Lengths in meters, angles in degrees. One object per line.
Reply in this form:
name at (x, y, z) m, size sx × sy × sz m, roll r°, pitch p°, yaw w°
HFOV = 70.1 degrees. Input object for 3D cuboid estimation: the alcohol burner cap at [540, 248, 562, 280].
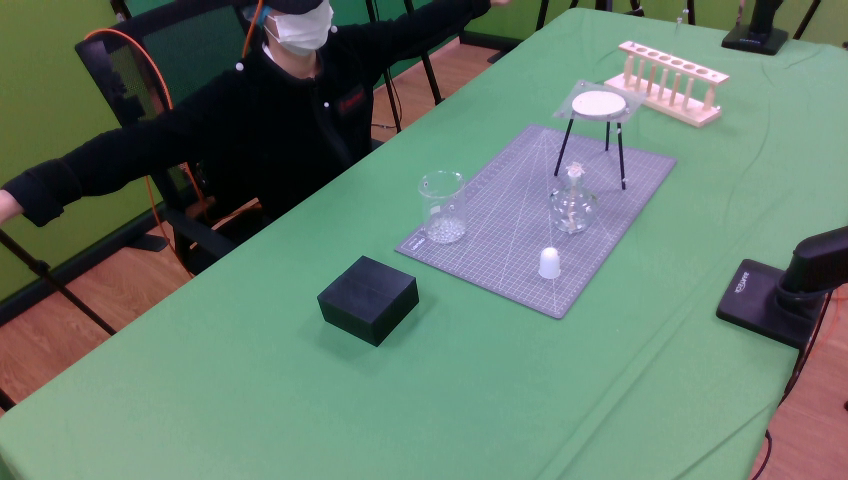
alcohol burner cap at (0.187, 0.032, 0.888) m, size 0.034 × 0.048 × 0.033 m, roll -4°, pitch 40°, yaw 4°

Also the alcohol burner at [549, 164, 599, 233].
alcohol burner at (0.236, -0.069, 0.946) m, size 0.078 × 0.119 × 0.077 m, roll -3°, pitch 41°, yaw 3°

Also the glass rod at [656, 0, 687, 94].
glass rod at (0.491, -0.381, 1.199) m, size 0.008 × 0.200 × 0.008 m, roll 1°, pitch 41°, yaw 0°

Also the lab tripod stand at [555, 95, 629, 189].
lab tripod stand at (0.300, -0.174, 1.045) m, size 0.148 × 0.132 × 0.147 m, roll -5°, pitch 38°, yaw 5°

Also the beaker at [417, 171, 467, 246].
beaker at (0.034, -0.049, 0.965) m, size 0.084 × 0.101 × 0.073 m, roll -32°, pitch 45°, yaw -27°

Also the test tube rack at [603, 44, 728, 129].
test tube rack at (0.480, -0.316, 1.227) m, size 0.067 × 0.085 × 0.240 m, roll -28°, pitch 44°, yaw -22°

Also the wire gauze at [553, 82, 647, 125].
wire gauze at (0.293, -0.226, 1.002) m, size 0.120 × 0.011 × 0.125 m, roll 17°, pitch 45°, yaw 27°
